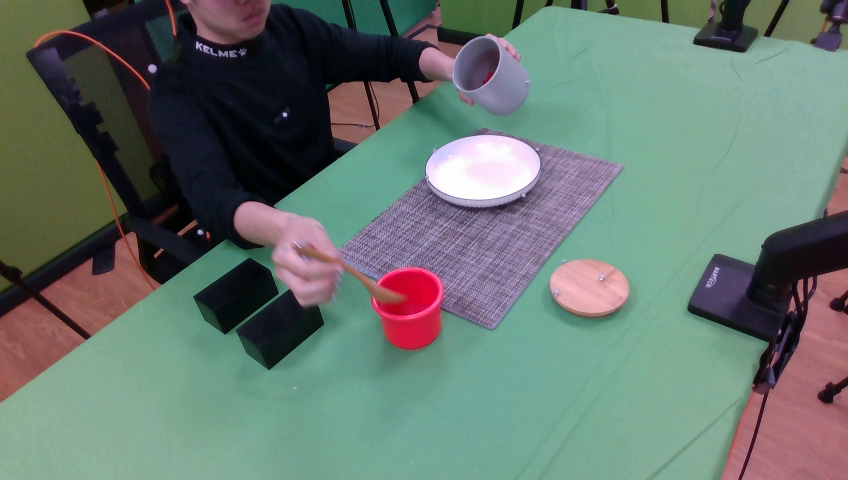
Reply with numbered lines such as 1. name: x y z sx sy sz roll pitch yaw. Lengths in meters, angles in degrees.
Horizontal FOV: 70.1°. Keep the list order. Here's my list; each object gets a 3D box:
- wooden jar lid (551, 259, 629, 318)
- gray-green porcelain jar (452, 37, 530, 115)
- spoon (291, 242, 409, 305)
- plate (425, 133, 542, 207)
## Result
1. wooden jar lid: 0.234 0.070 0.857 0.108 0.021 0.108 -5 40 5
2. gray-green porcelain jar: 0.128 -0.296 1.116 0.105 0.127 0.105 -11 72 34
3. spoon: -0.086 0.043 0.723 0.041 0.195 0.021 -7 59 39
4. plate: 0.106 -0.122 1.079 0.207 0.039 0.206 -4 41 4
